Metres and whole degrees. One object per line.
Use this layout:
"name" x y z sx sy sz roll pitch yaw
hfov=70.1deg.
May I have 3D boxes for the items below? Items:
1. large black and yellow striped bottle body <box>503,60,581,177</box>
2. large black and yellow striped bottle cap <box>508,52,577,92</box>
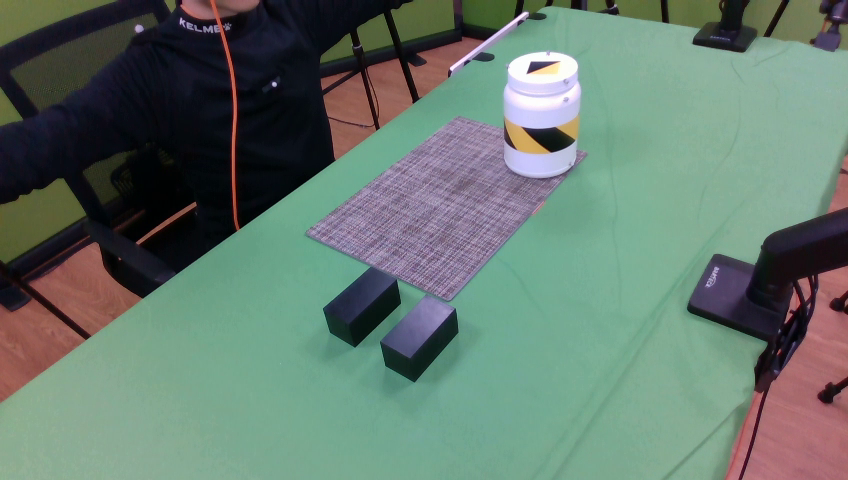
"large black and yellow striped bottle body" 0.206 -0.218 1.061 0.131 0.185 0.130 -4 41 4
"large black and yellow striped bottle cap" 0.197 -0.281 1.008 0.115 0.019 0.114 -4 42 4
